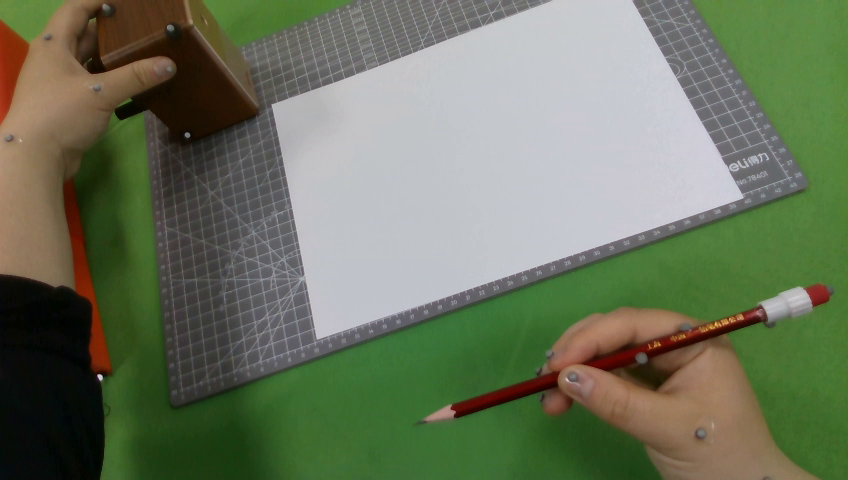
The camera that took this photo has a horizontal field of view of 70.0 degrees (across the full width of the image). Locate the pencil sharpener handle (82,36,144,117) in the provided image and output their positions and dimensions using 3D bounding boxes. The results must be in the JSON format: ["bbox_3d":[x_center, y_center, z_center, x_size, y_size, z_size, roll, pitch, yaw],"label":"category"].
[{"bbox_3d":[-0.242,-0.121,0.461,0.030,0.068,0.035,-23,61,4],"label":"pencil sharpener handle"}]

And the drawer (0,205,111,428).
[{"bbox_3d":[-0.360,0.046,0.456,0.194,0.074,0.210,-28,65,2],"label":"drawer"}]

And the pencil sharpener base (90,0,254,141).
[{"bbox_3d":[-0.192,-0.136,0.470,0.076,0.108,0.061,-23,64,4],"label":"pencil sharpener base"}]

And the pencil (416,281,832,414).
[{"bbox_3d":[0.088,0.052,0.280,0.194,0.012,0.012,-18,65,6],"label":"pencil"}]

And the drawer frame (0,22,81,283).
[{"bbox_3d":[-0.408,-0.051,0.501,0.201,0.083,0.211,-27,65,2],"label":"drawer frame"}]
